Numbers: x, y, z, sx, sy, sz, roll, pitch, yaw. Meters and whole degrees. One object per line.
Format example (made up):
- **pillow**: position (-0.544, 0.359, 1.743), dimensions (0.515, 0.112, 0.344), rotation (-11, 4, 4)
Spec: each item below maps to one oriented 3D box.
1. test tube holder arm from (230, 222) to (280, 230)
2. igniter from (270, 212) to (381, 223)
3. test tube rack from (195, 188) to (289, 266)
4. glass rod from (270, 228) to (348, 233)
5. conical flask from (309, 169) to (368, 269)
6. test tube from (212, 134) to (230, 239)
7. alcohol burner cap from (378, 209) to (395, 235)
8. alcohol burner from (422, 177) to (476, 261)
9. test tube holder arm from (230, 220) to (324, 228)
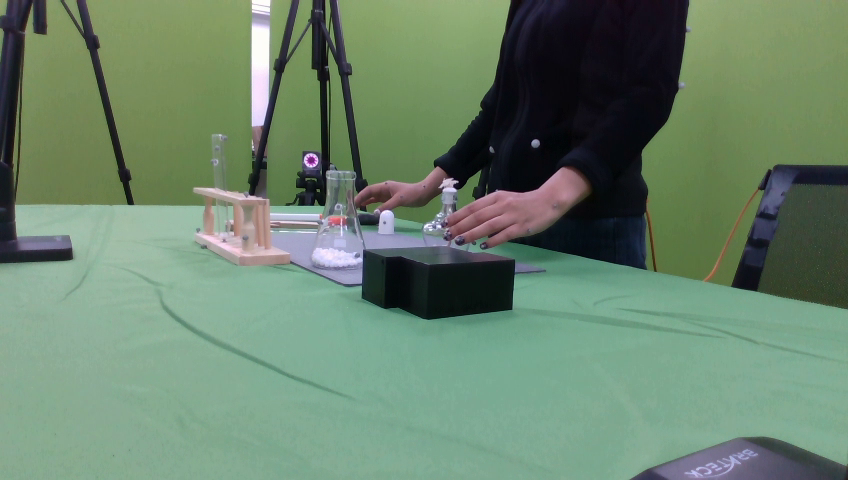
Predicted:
- **test tube holder arm**: position (-0.312, -0.025, 1.118), dimensions (0.088, 0.015, 0.010), rotation (-1, 43, -30)
- **igniter**: position (-0.213, -0.048, 1.278), dimensions (0.278, 0.025, 0.057), rotation (-1, -2, -25)
- **test tube rack**: position (-0.266, -0.025, 0.864), dimensions (0.067, 0.085, 0.241), rotation (-2, 9, -33)
- **glass rod**: position (-0.234, -0.017, 1.105), dimensions (0.201, 0.008, 0.008), rotation (1, 7, -26)
- **conical flask**: position (-0.106, -0.028, 0.762), dimensions (0.075, 0.122, 0.075), rotation (2, 7, 0)
- **test tube**: position (-0.290, -0.076, 0.863), dimensions (0.017, 0.150, 0.017), rotation (-2, 6, 0)
- **alcohol burner cap**: position (-0.070, -0.035, 1.144), dimensions (0.034, 0.048, 0.034), rotation (2, 8, 0)
- **alcohol burner**: position (0.036, -0.030, 0.863), dimensions (0.078, 0.119, 0.078), rotation (2, 9, 0)
- **test tube holder arm**: position (-0.275, -0.030, 1.144), dimensions (0.179, 0.015, 0.013), rotation (-2, 43, -31)
